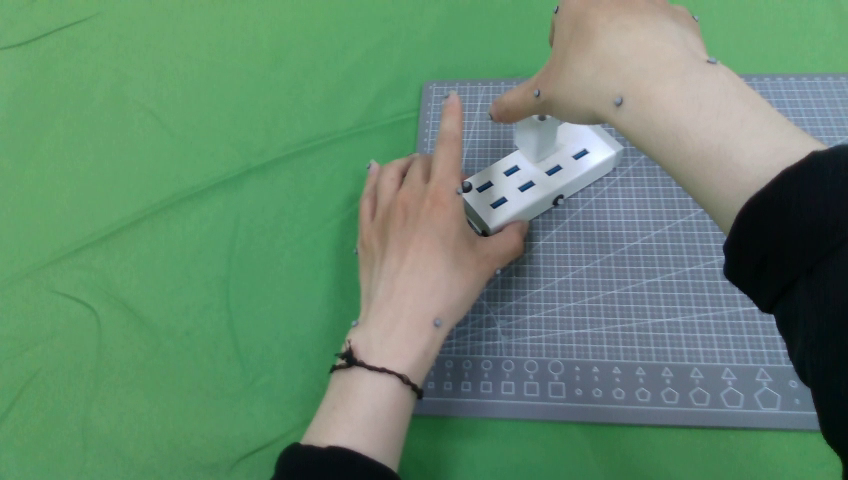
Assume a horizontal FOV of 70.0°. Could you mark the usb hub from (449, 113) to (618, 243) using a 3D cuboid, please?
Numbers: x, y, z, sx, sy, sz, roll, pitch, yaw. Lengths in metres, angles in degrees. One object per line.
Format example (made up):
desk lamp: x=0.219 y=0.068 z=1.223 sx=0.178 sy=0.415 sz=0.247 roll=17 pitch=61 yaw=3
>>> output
usb hub: x=0.083 y=-0.050 z=0.463 sx=0.125 sy=0.025 sz=0.049 roll=-30 pitch=60 yaw=-13

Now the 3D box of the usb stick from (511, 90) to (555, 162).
usb stick: x=0.080 y=-0.079 z=0.447 sx=0.021 sy=0.060 sz=0.027 roll=-33 pitch=58 yaw=-13
